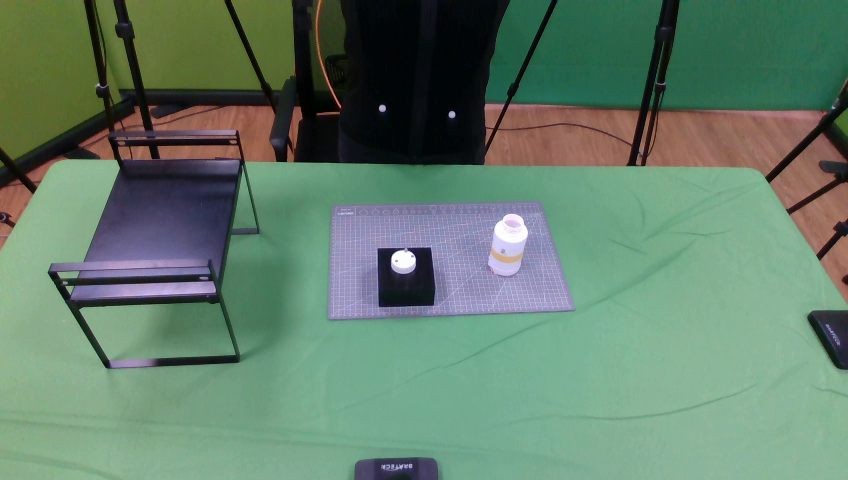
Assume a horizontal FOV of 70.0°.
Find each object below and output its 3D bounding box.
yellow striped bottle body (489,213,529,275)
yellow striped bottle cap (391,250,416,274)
[{"bbox_3d":[0.159,0.005,1.130,0.063,0.121,0.062,2,46,-2],"label":"yellow striped bottle body"},{"bbox_3d":[-0.037,0.039,1.087,0.044,0.019,0.044,2,44,-1],"label":"yellow striped bottle cap"}]
